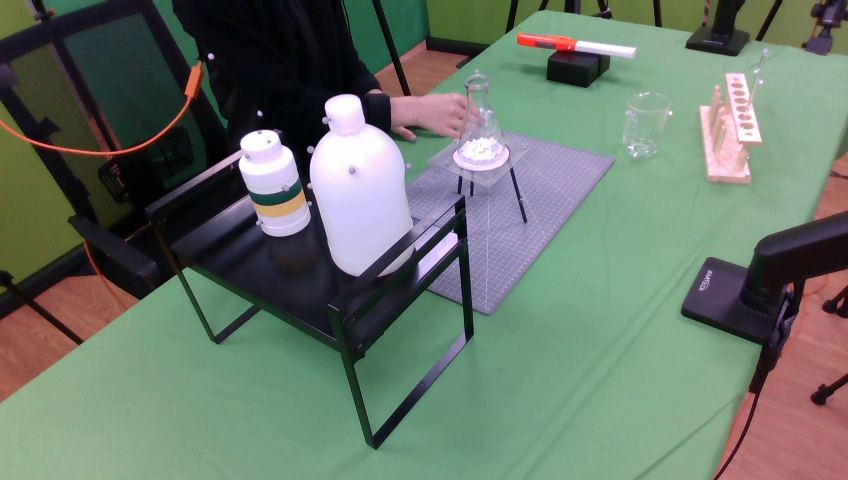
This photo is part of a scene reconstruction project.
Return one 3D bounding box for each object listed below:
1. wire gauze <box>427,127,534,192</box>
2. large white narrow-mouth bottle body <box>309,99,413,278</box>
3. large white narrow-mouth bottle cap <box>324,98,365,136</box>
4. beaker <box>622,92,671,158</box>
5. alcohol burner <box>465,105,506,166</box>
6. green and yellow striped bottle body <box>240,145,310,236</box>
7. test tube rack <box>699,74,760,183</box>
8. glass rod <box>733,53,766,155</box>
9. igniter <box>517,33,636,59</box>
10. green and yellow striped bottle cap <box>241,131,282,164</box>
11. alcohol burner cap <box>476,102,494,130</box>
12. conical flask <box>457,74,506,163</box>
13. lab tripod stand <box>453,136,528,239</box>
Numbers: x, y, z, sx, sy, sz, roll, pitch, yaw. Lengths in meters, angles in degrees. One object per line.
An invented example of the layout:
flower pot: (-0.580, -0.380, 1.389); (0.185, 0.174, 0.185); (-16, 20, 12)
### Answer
wire gauze: (0.086, -0.130, 0.925); (0.124, 0.011, 0.122); (28, 54, 31)
large white narrow-mouth bottle body: (-0.069, -0.057, 0.644); (0.102, 0.195, 0.101); (-3, 42, 4)
large white narrow-mouth bottle cap: (-0.076, -0.120, 0.586); (0.038, 0.024, 0.037); (-3, 42, 3)
beaker: (0.402, -0.210, 1.106); (0.074, 0.101, 0.083); (-9, 40, -2)
alcohol burner: (0.113, -0.199, 1.119); (0.078, 0.119, 0.077); (-4, 43, 4)
green and yellow striped bottle body: (-0.181, -0.068, 0.729); (0.063, 0.120, 0.063); (-4, 40, 4)
test tube rack: (0.547, -0.208, 1.095); (0.066, 0.085, 0.242); (6, 42, 16)
glass rod: (0.540, -0.219, 1.006); (0.008, 0.201, 0.008); (-5, 45, 6)
igniter: (0.336, -0.441, 1.369); (0.275, 0.025, 0.057); (16, 41, 23)
green and yellow striped bottle cap: (-0.187, -0.107, 0.695); (0.045, 0.020, 0.045); (-3, 39, 3)
alcohol burner cap: (0.111, -0.227, 1.095); (0.034, 0.048, 0.033); (-1, 43, 2)
conical flask: (0.082, -0.181, 0.893); (0.075, 0.122, 0.075); (-4, 41, 4)
lab tripod stand: (0.095, -0.086, 0.974); (0.148, 0.132, 0.147); (-4, 43, 4)
